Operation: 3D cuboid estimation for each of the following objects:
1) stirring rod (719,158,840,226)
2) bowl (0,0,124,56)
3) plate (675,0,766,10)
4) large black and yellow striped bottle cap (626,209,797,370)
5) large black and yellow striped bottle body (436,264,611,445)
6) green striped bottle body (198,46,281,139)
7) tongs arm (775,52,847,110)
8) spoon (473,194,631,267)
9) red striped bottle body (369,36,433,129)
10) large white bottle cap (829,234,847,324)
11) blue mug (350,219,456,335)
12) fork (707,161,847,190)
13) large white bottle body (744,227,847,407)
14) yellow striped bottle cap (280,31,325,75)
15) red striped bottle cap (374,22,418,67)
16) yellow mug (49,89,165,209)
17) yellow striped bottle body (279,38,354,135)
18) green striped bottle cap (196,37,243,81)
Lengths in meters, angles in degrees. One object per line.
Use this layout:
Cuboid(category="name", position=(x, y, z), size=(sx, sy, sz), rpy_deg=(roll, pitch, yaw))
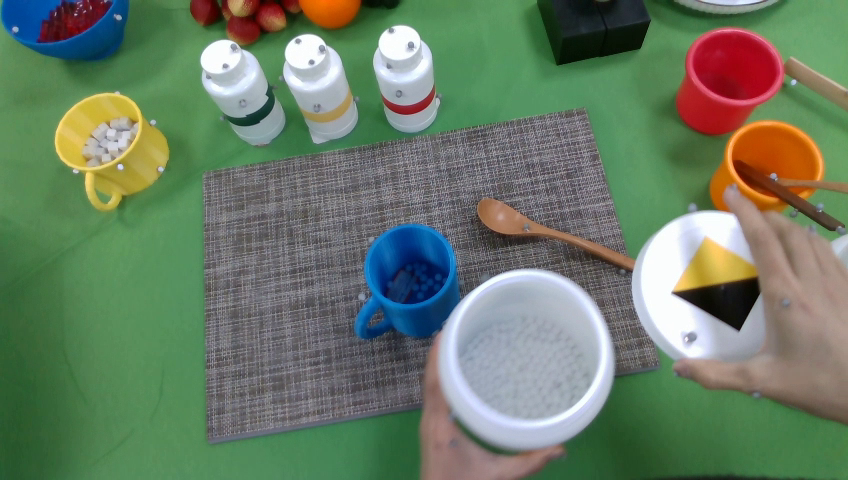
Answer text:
Cuboid(category="stirring rod", position=(0.332, -0.050, 0.579), size=(0.014, 0.006, 0.174), rpy_deg=(-7, 25, -1))
Cuboid(category="bowl", position=(-0.437, -0.285, 0.756), size=(0.151, 0.077, 0.150), rpy_deg=(-1, 69, 4))
Cuboid(category="plate", position=(0.358, -0.364, 0.747), size=(0.209, 0.038, 0.207), rpy_deg=(-1, 70, 4))
Cuboid(category="large black and yellow striped bottle cap", position=(0.201, 0.033, 0.426), size=(0.115, 0.019, 0.114), rpy_deg=(1, 70, -2))
Cuboid(category="large black and yellow striped bottle body", position=(0.079, 0.099, 0.499), size=(0.130, 0.185, 0.130), rpy_deg=(-2, 70, 6))
Cuboid(category="green striped bottle body", position=(-0.206, -0.168, 0.672), size=(0.063, 0.120, 0.062), rpy_deg=(-1, 69, 4))
Cuboid(category="tongs arm", position=(0.554, -0.099, 0.633), size=(0.382, 0.027, 0.050), rpy_deg=(41, 74, 16))
Cuboid(category="spoon", position=(0.142, -0.005, 0.633), size=(0.193, 0.022, 0.041), rpy_deg=(20, 49, 11))
Cuboid(category="red striped bottle body", position=(-0.025, -0.179, 0.663), size=(0.063, 0.120, 0.062), rpy_deg=(-2, 68, 4))
Cuboid(category="large white bottle cap", position=(0.351, 0.033, 0.428), size=(0.115, 0.018, 0.114), rpy_deg=(-1, 68, 4))
Cuboid(category="blue mug", position=(-0.024, 0.048, 0.581), size=(0.116, 0.106, 0.082), rpy_deg=(-42, 71, -11))
Cuboid(category="fork", position=(0.363, -0.054, 0.570), size=(0.028, 0.019, 0.205), rpy_deg=(-45, 29, -13))
Cuboid(category="large white bottle body", position=(0.359, 0.065, 0.506), size=(0.130, 0.186, 0.129), rpy_deg=(-2, 69, 4))
Cuboid(category="yellow striped bottle cap", position=(-0.124, -0.191, 0.618), size=(0.044, 0.019, 0.044), rpy_deg=(0, 65, 0))
Cuboid(category="red striped bottle cap", position=(-0.029, -0.199, 0.614), size=(0.044, 0.018, 0.044), rpy_deg=(0, 67, 1))
Cuboid(category="yellow mug", position=(-0.360, -0.098, 0.686), size=(0.100, 0.064, 0.130), rpy_deg=(0, 70, 4))
Cuboid(category="yellow striped bottle body", position=(-0.119, -0.173, 0.667), size=(0.063, 0.121, 0.062), rpy_deg=(-2, 68, 5))
Cuboid(category="green striped bottle cap", position=(-0.211, -0.187, 0.624), size=(0.044, 0.020, 0.044), rpy_deg=(-2, 68, 4))
